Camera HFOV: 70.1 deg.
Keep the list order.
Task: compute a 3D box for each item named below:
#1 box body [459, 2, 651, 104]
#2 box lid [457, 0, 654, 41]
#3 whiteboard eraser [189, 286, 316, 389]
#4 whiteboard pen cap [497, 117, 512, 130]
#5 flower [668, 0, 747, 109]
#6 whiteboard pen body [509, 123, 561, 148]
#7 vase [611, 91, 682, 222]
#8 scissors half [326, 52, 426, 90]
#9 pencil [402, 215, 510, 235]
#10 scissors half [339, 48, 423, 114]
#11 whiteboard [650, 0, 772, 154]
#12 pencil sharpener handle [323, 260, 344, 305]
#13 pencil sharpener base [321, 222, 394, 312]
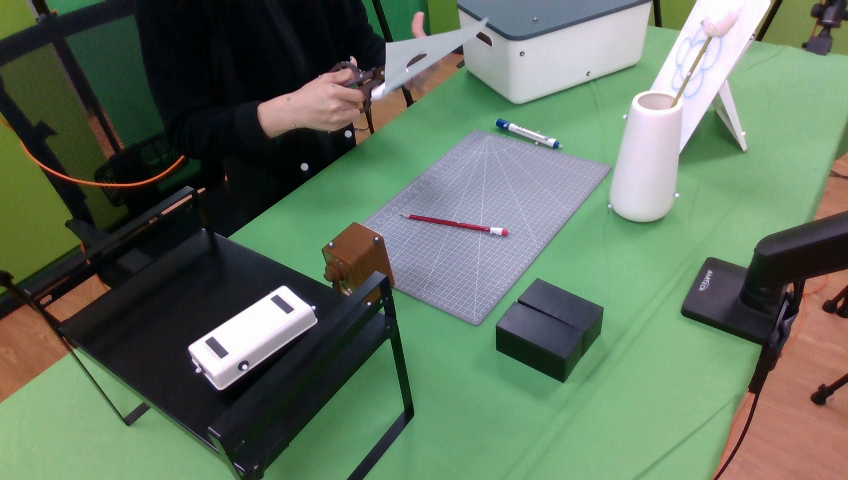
[{"bbox_3d":[0.291,-0.465,1.371,0.365,0.161,0.252,-22,42,-16],"label":"box body"},{"bbox_3d":[0.285,-0.522,1.323,0.373,0.015,0.261,-22,43,-16],"label":"box lid"},{"bbox_3d":[-0.166,0.096,0.593,0.113,0.042,0.055,-36,47,-29],"label":"whiteboard eraser"},{"bbox_3d":[0.165,-0.235,1.226,0.033,0.018,0.018,32,53,31],"label":"whiteboard pen cap"},{"bbox_3d":[0.354,-0.187,0.879,0.038,0.362,0.044,30,48,14],"label":"flower"},{"bbox_3d":[0.209,-0.212,1.195,0.139,0.017,0.017,30,52,33],"label":"whiteboard pen body"},{"bbox_3d":[0.348,-0.125,0.935,0.098,0.201,0.097,-3,40,3],"label":"vase"},{"bbox_3d":[-0.074,-0.252,0.883,0.174,0.040,0.013,-4,31,29],"label":"scissors half"},{"bbox_3d":[0.049,-0.027,1.007,0.193,0.012,0.012,10,43,21],"label":"pencil"},{"bbox_3d":[-0.064,-0.234,0.890,0.174,0.040,0.013,-29,12,38],"label":"scissors half"},{"bbox_3d":[0.543,-0.298,1.076,0.144,0.305,0.216,12,40,-7],"label":"whiteboard"},{"bbox_3d":[-0.131,0.062,0.839,0.035,0.068,0.031,29,56,28],"label":"pencil sharpener handle"},{"bbox_3d":[-0.096,0.041,0.873,0.061,0.107,0.077,26,54,32],"label":"pencil sharpener base"}]
